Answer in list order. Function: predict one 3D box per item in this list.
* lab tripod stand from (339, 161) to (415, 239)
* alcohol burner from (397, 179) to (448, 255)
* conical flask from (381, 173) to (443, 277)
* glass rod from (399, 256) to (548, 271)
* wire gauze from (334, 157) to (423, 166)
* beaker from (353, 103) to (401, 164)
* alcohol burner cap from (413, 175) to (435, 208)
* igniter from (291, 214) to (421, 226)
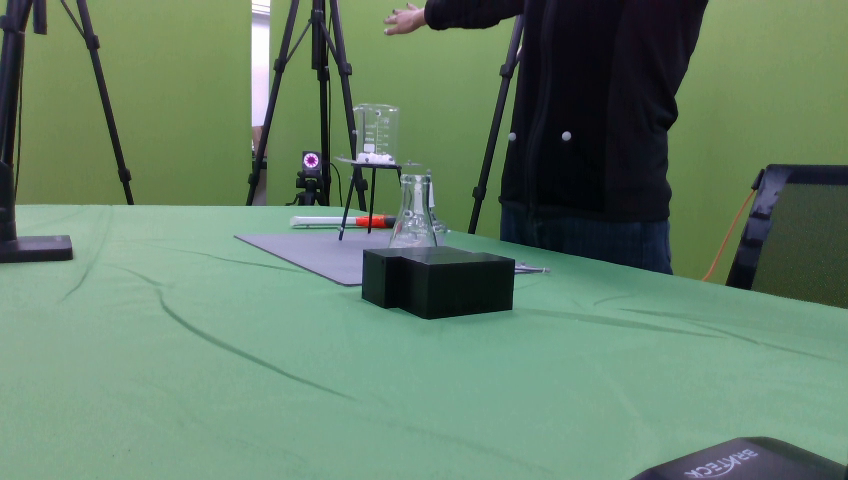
[{"bbox_3d":[-0.082,-0.070,1.059,0.148,0.131,0.148,4,6,0],"label":"lab tripod stand"},{"bbox_3d":[-0.001,-0.037,0.903,0.078,0.119,0.078,4,9,0],"label":"alcohol burner"},{"bbox_3d":[-0.012,-0.020,0.731,0.075,0.122,0.075,2,7,0],"label":"conical flask"},{"bbox_3d":[0.064,0.030,0.806,0.199,0.008,0.008,4,7,10],"label":"glass rod"},{"bbox_3d":[-0.081,-0.135,1.051,0.122,0.011,0.124,2,6,-30],"label":"wire gauze"},{"bbox_3d":[-0.084,-0.183,1.046,0.084,0.100,0.074,4,6,3],"label":"beaker"},{"bbox_3d":[-0.001,-0.072,0.898,0.034,0.048,0.034,-3,10,1],"label":"alcohol burner cap"},{"bbox_3d":[-0.135,-0.041,1.250,0.278,0.025,0.057,-1,-3,-28],"label":"igniter"}]
